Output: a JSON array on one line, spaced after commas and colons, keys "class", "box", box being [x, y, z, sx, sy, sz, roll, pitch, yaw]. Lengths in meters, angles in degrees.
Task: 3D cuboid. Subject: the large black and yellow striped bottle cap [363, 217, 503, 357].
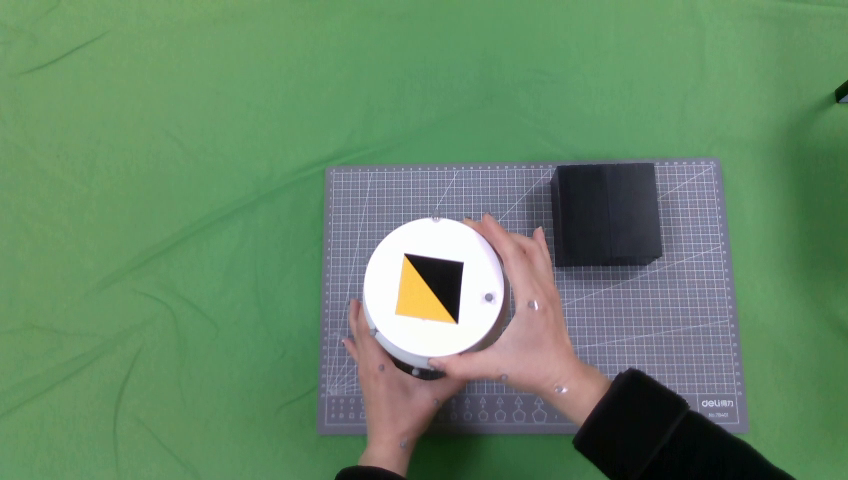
[{"class": "large black and yellow striped bottle cap", "box": [0.007, 0.038, 0.493, 0.115, 0.019, 0.114, -1, 78, 4]}]

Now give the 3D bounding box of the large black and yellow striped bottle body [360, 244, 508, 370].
[{"class": "large black and yellow striped bottle body", "box": [0.011, 0.056, 0.575, 0.131, 0.185, 0.130, -1, 77, 3]}]
